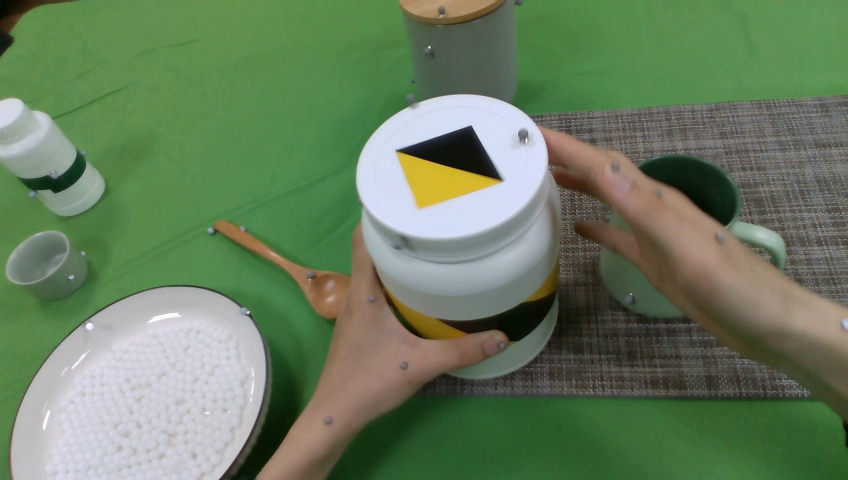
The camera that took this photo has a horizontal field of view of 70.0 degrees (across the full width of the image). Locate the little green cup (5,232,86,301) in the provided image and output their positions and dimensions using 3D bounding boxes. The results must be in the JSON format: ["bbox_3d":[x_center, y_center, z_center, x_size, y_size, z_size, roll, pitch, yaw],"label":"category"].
[{"bbox_3d":[-0.361,0.027,0.582,0.061,0.039,0.061,-5,53,8],"label":"little green cup"}]

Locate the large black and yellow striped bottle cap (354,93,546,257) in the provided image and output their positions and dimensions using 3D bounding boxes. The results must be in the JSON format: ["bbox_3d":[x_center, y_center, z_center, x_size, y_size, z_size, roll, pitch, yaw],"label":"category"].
[{"bbox_3d":[0.015,-0.042,0.362,0.115,0.019,0.114,-6,56,9],"label":"large black and yellow striped bottle cap"}]

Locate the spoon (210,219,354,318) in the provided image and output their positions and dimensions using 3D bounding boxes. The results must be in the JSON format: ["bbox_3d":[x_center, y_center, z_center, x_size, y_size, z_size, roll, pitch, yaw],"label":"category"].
[{"bbox_3d":[-0.136,0.018,0.557,0.192,0.022,0.041,28,80,26],"label":"spoon"}]

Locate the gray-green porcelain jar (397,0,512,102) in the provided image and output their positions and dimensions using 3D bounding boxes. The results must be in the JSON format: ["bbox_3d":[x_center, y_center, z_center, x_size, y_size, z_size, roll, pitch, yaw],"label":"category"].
[{"bbox_3d":[0.034,-0.187,0.602,0.106,0.128,0.105,-5,51,7],"label":"gray-green porcelain jar"}]

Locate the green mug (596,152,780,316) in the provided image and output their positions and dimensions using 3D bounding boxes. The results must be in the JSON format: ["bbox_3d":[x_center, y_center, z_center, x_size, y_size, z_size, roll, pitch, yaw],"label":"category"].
[{"bbox_3d":[0.195,0.002,0.452,0.124,0.106,0.092,17,60,21],"label":"green mug"}]

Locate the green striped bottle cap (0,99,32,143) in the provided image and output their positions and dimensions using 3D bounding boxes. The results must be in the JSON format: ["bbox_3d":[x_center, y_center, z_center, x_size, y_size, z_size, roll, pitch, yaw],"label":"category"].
[{"bbox_3d":[-0.397,-0.112,0.572,0.044,0.020,0.044,-3,57,5],"label":"green striped bottle cap"}]

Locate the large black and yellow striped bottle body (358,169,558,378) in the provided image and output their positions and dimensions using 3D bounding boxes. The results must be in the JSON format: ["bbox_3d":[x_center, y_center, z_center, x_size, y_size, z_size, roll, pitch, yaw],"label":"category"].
[{"bbox_3d":[0.028,0.005,0.431,0.130,0.186,0.129,-5,55,8],"label":"large black and yellow striped bottle body"}]

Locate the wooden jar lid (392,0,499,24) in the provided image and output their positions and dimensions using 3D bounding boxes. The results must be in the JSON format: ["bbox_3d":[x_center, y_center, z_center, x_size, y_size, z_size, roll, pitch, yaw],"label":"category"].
[{"bbox_3d":[0.024,-0.226,0.553,0.108,0.021,0.107,-7,53,10],"label":"wooden jar lid"}]

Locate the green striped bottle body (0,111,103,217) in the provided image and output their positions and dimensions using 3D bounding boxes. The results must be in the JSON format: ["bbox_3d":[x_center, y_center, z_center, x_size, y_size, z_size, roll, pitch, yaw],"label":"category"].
[{"bbox_3d":[-0.389,-0.082,0.613,0.063,0.120,0.062,-5,54,8],"label":"green striped bottle body"}]

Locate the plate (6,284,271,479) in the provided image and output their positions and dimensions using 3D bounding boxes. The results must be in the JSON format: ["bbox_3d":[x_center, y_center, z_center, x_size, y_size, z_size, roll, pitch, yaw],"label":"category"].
[{"bbox_3d":[-0.219,0.133,0.484,0.209,0.038,0.207,-5,55,7],"label":"plate"}]
